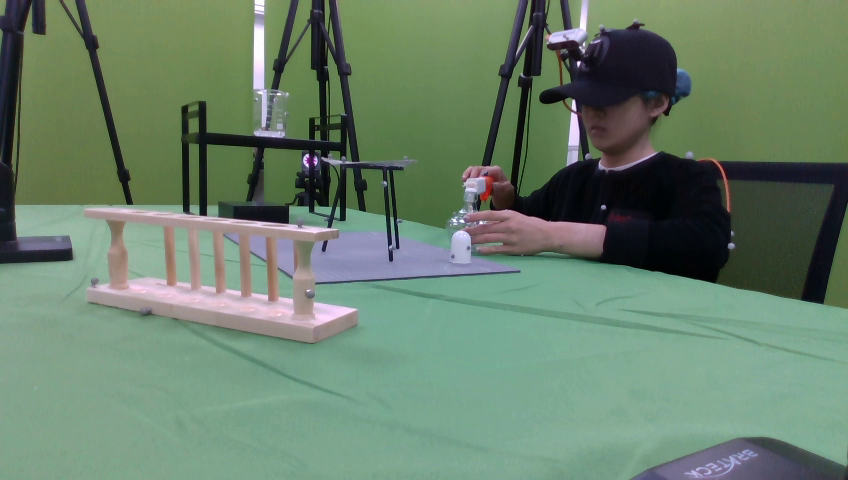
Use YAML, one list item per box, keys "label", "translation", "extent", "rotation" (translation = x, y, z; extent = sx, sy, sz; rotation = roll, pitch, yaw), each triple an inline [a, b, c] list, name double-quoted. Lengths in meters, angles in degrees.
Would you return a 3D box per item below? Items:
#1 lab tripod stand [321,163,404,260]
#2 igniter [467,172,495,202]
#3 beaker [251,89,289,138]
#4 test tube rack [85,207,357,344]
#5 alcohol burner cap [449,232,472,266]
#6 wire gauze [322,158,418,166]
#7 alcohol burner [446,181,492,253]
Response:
- label: "lab tripod stand"
  translation: [-0.076, -0.045, 0.884]
  extent: [0.148, 0.131, 0.148]
  rotation: [2, 5, 0]
- label: "igniter"
  translation: [0.110, -0.100, 1.141]
  extent: [0.025, 0.057, 0.277]
  rotation: [1, 6, 12]
- label: "beaker"
  translation: [-0.334, -0.273, 1.316]
  extent: [0.084, 0.100, 0.074]
  rotation: [6, 8, 15]
- label: "test tube rack"
  translation: [-0.177, 0.022, 0.518]
  extent: [0.241, 0.085, 0.067]
  rotation: [6, 7, 23]
- label: "alcohol burner cap"
  translation: [0.052, 0.012, 0.843]
  extent: [0.034, 0.048, 0.034]
  rotation: [2, 6, 0]
- label: "wire gauze"
  translation: [-0.081, -0.112, 0.877]
  extent: [0.122, 0.011, 0.124]
  rotation: [0, 6, -18]
- label: "alcohol burner"
  translation: [0.075, -0.038, 0.999]
  extent: [0.078, 0.119, 0.078]
  rotation: [4, 9, 0]
